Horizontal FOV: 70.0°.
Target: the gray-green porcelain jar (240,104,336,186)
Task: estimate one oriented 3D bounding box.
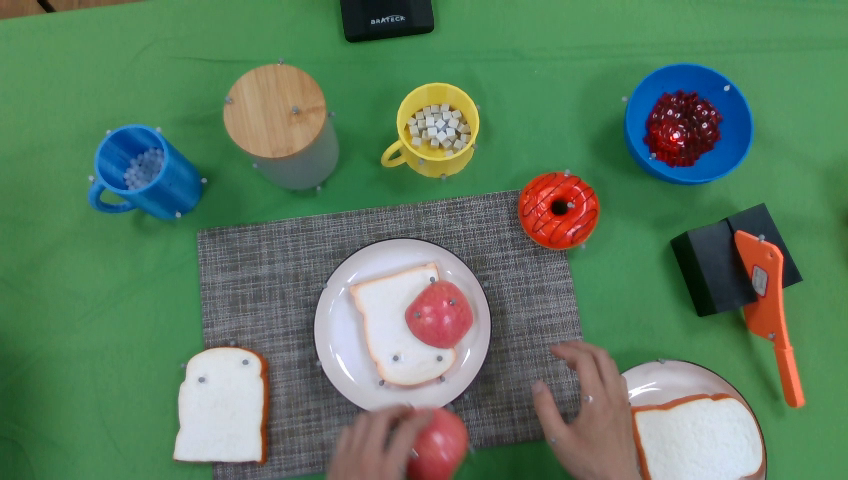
[{"bbox_3d":[-0.162,-0.126,0.713,0.106,0.127,0.105,0,78,0],"label":"gray-green porcelain jar"}]

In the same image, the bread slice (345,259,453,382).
[{"bbox_3d":[-0.022,0.097,0.712,0.107,0.018,0.133,-19,79,-4],"label":"bread slice"}]

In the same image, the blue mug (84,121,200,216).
[{"bbox_3d":[-0.336,-0.072,0.710,0.116,0.106,0.082,-33,80,-7],"label":"blue mug"}]

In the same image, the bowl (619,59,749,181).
[{"bbox_3d":[0.306,-0.135,0.745,0.151,0.077,0.150,0,79,0],"label":"bowl"}]

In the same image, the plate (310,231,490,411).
[{"bbox_3d":[-0.028,0.094,0.712,0.208,0.039,0.206,0,78,0],"label":"plate"}]

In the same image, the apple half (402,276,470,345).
[{"bbox_3d":[0.017,0.080,0.693,0.081,0.033,0.081,1,77,-2],"label":"apple half"}]

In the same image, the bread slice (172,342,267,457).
[{"bbox_3d":[-0.236,0.185,0.701,0.105,0.019,0.131,0,80,-2],"label":"bread slice"}]

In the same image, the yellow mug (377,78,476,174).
[{"bbox_3d":[-0.001,-0.131,0.747,0.131,0.064,0.099,-31,80,-6],"label":"yellow mug"}]

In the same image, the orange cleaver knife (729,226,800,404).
[{"bbox_3d":[0.392,0.086,0.700,0.012,0.077,0.212,-19,101,-11],"label":"orange cleaver knife"}]

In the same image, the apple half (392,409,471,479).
[{"bbox_3d":[0.007,0.218,0.624,0.074,0.053,0.081,32,88,6],"label":"apple half"}]

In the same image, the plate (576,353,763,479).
[{"bbox_3d":[0.275,0.234,0.691,0.209,0.038,0.208,0,78,0],"label":"plate"}]

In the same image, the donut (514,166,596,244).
[{"bbox_3d":[0.159,-0.043,0.738,0.099,0.048,0.098,0,79,0],"label":"donut"}]

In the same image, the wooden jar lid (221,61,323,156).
[{"bbox_3d":[-0.162,-0.139,0.652,0.108,0.021,0.108,0,77,0],"label":"wooden jar lid"}]
